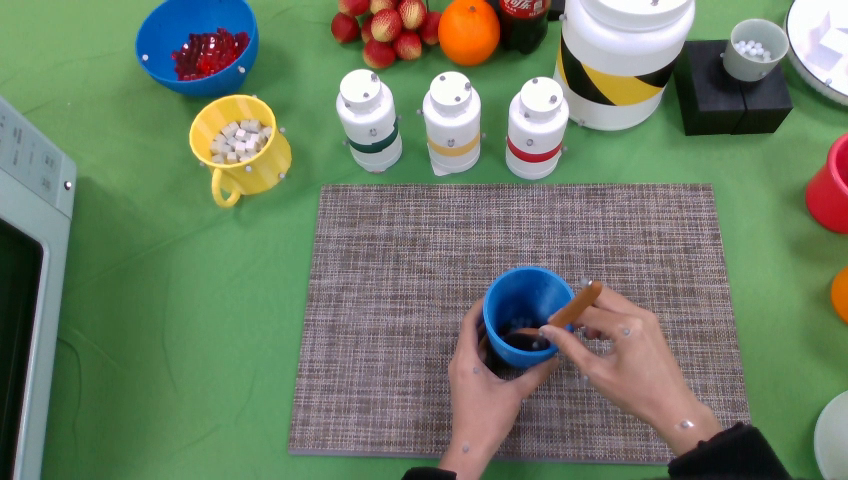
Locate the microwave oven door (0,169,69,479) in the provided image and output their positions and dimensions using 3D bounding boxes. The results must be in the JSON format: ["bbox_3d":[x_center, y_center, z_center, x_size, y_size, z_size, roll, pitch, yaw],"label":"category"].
[{"bbox_3d":[-0.415,0.085,0.527,0.039,0.245,0.353,-9,66,1],"label":"microwave oven door"}]

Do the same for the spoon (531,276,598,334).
[{"bbox_3d":[0.106,0.071,0.526,0.041,0.194,0.021,28,66,0],"label":"spoon"}]

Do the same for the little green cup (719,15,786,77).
[{"bbox_3d":[0.362,-0.214,0.674,0.061,0.039,0.061,-1,65,2],"label":"little green cup"}]

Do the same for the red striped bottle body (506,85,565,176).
[{"bbox_3d":[0.121,-0.126,0.665,0.063,0.121,0.062,-3,64,7],"label":"red striped bottle body"}]

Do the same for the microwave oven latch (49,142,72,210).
[{"bbox_3d":[-0.433,-0.073,0.707,0.030,0.030,0.078,-7,67,1],"label":"microwave oven latch"}]

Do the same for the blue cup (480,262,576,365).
[{"bbox_3d":[0.095,0.080,0.584,0.092,0.101,0.092,-1,65,3],"label":"blue cup"}]

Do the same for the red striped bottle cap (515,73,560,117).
[{"bbox_3d":[0.116,-0.149,0.617,0.044,0.018,0.044,0,65,0],"label":"red striped bottle cap"}]

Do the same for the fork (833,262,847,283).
[{"bbox_3d":[0.477,0.055,0.544,0.028,0.019,0.205,-33,24,-15],"label":"fork"}]

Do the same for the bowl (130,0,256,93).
[{"bbox_3d":[-0.277,-0.240,0.766,0.151,0.077,0.150,-1,67,3],"label":"bowl"}]

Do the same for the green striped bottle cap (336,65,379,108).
[{"bbox_3d":[-0.070,-0.162,0.637,0.044,0.020,0.044,-1,65,3],"label":"green striped bottle cap"}]

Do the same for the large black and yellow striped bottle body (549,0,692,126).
[{"bbox_3d":[0.212,-0.228,0.667,0.131,0.185,0.130,-2,66,4],"label":"large black and yellow striped bottle body"}]

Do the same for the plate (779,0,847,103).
[{"bbox_3d":[0.533,-0.241,0.729,0.209,0.038,0.207,-1,67,4],"label":"plate"}]

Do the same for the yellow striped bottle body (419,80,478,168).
[{"bbox_3d":[0.029,-0.137,0.676,0.063,0.121,0.062,-2,66,5],"label":"yellow striped bottle body"}]

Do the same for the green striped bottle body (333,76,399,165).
[{"bbox_3d":[-0.065,-0.141,0.685,0.063,0.120,0.062,-1,66,4],"label":"green striped bottle body"}]

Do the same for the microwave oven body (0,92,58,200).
[{"bbox_3d":[-0.564,0.070,0.550,0.326,0.262,0.438,-9,67,0],"label":"microwave oven body"}]

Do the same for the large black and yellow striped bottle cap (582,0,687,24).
[{"bbox_3d":[0.205,-0.261,0.590,0.115,0.019,0.114,-2,65,4],"label":"large black and yellow striped bottle cap"}]

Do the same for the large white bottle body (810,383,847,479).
[{"bbox_3d":[0.419,0.159,0.483,0.130,0.186,0.129,-2,66,4],"label":"large white bottle body"}]

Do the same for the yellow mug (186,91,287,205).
[{"bbox_3d":[-0.222,-0.103,0.709,0.100,0.064,0.130,10,68,7],"label":"yellow mug"}]

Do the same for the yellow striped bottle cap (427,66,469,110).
[{"bbox_3d":[0.025,-0.158,0.629,0.044,0.019,0.044,-1,68,3],"label":"yellow striped bottle cap"}]
